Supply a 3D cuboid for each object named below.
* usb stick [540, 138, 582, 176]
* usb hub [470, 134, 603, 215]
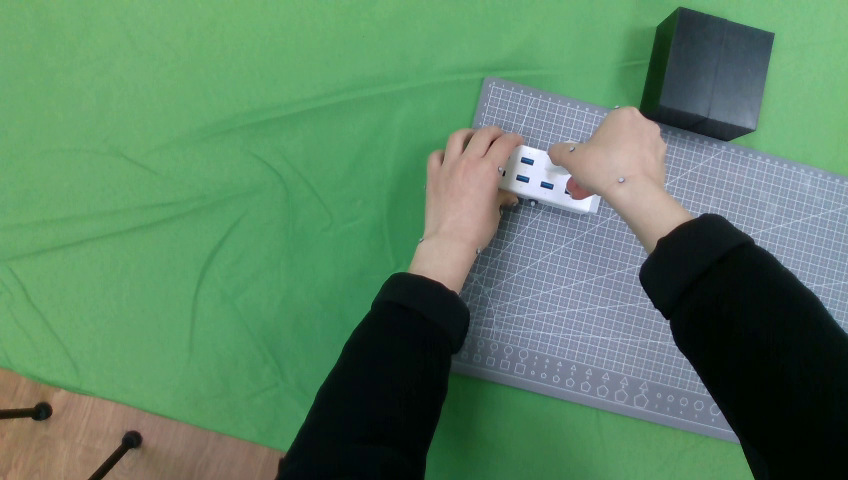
[{"bbox_3d":[0.127,-0.077,0.573,0.021,0.059,0.027,20,84,-7],"label":"usb stick"},{"bbox_3d":[0.112,-0.065,0.607,0.125,0.025,0.049,16,89,-5],"label":"usb hub"}]
